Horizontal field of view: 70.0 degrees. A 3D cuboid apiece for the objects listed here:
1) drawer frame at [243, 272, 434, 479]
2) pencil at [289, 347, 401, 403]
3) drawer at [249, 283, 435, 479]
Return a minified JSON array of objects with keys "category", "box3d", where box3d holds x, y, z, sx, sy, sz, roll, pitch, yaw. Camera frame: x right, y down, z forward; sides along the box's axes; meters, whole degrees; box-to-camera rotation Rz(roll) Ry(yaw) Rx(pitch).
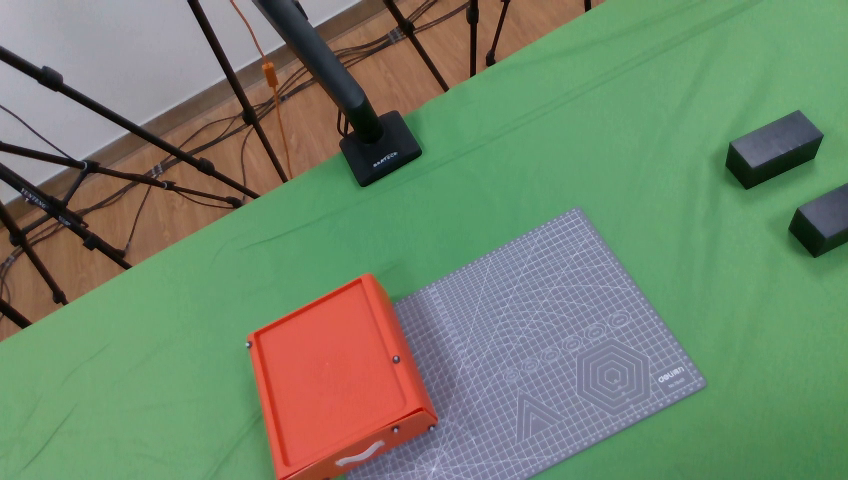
[{"category":"drawer frame","box3d":[-0.119,0.184,0.808,0.201,0.083,0.211,-29,56,3]},{"category":"pencil","box3d":[-0.111,0.185,0.831,0.192,0.012,0.012,19,69,27]},{"category":"drawer","box3d":[-0.115,0.188,0.806,0.194,0.074,0.209,-28,55,3]}]
